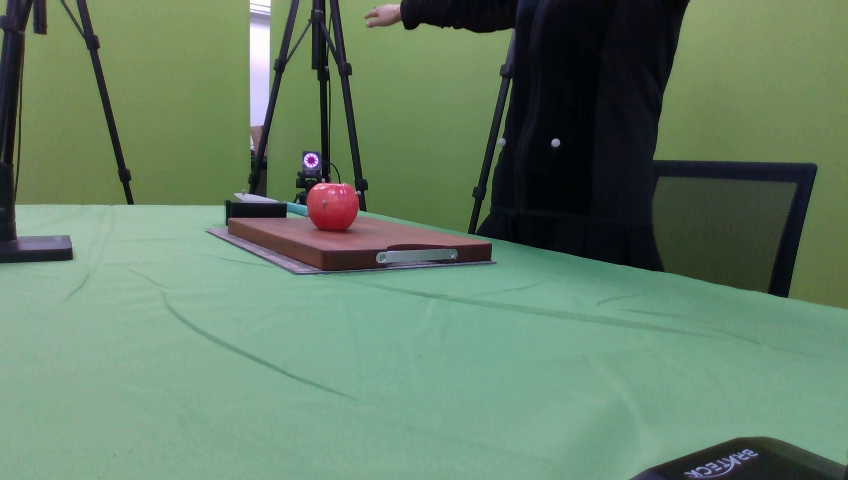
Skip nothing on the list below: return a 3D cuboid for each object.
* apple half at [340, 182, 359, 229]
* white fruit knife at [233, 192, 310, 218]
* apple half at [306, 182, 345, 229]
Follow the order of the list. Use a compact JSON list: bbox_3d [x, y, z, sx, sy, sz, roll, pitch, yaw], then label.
[{"bbox_3d":[-0.120,-0.056,0.963,0.033,0.081,0.081,-5,9,-20],"label":"apple half"},{"bbox_3d":[-0.276,-0.066,1.210,0.208,0.027,0.016,14,0,-24],"label":"white fruit knife"},{"bbox_3d":[-0.158,-0.054,0.950,0.053,0.074,0.080,-4,13,-20],"label":"apple half"}]
